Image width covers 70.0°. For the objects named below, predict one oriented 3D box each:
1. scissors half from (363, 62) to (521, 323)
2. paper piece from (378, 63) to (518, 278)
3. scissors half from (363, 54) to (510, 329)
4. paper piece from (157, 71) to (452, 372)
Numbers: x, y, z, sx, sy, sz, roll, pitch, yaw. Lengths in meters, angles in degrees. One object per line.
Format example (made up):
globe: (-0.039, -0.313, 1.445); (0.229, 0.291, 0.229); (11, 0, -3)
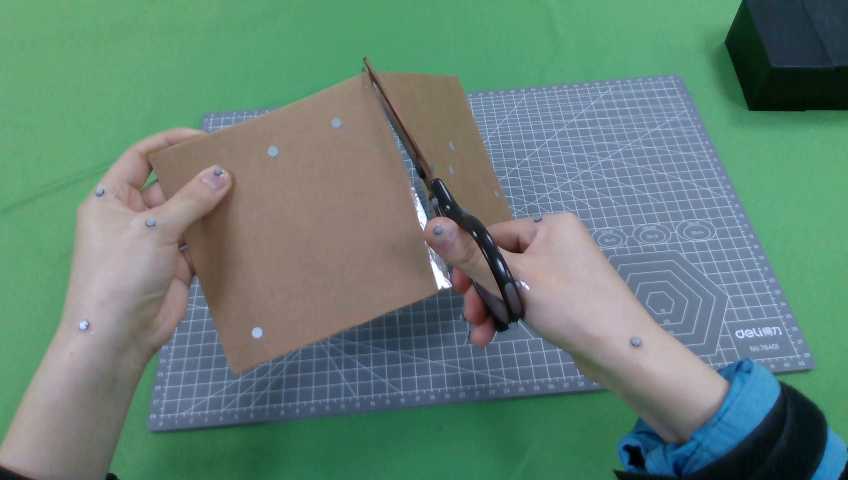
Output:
scissors half: (0.005, -0.034, 0.325); (0.013, 0.040, 0.173); (-25, 67, -11)
paper piece: (0.025, -0.054, 0.410); (0.004, 0.136, 0.135); (-18, 94, 27)
scissors half: (0.005, -0.029, 0.346); (0.013, 0.040, 0.175); (-26, 90, -6)
paper piece: (-0.072, -0.012, 0.346); (0.138, 0.009, 0.135); (-21, 80, 4)
